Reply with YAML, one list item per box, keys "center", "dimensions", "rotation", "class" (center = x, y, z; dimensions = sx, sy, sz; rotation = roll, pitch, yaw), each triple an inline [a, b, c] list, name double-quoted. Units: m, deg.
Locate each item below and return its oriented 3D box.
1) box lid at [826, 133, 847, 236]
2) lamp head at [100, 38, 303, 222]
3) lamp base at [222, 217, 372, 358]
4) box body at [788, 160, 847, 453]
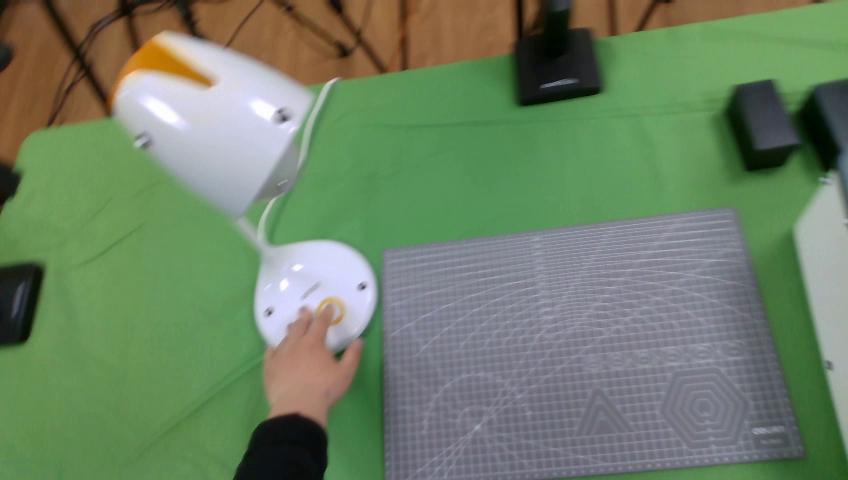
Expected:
- center: [0.525, 0.051, 0.516]
  dimensions: [0.263, 0.015, 0.368]
  rotation: [-4, 66, 9]
  class: "box lid"
- center: [-0.168, -0.088, 0.448]
  dimensions: [0.123, 0.112, 0.112]
  rotation: [28, 70, -15]
  class: "lamp head"
- center: [-0.168, 0.037, 0.721]
  dimensions: [0.178, 0.182, 0.160]
  rotation: [30, 74, 24]
  class: "lamp base"
- center: [0.537, 0.084, 0.581]
  dimensions: [0.254, 0.162, 0.361]
  rotation: [-4, 65, 9]
  class: "box body"
